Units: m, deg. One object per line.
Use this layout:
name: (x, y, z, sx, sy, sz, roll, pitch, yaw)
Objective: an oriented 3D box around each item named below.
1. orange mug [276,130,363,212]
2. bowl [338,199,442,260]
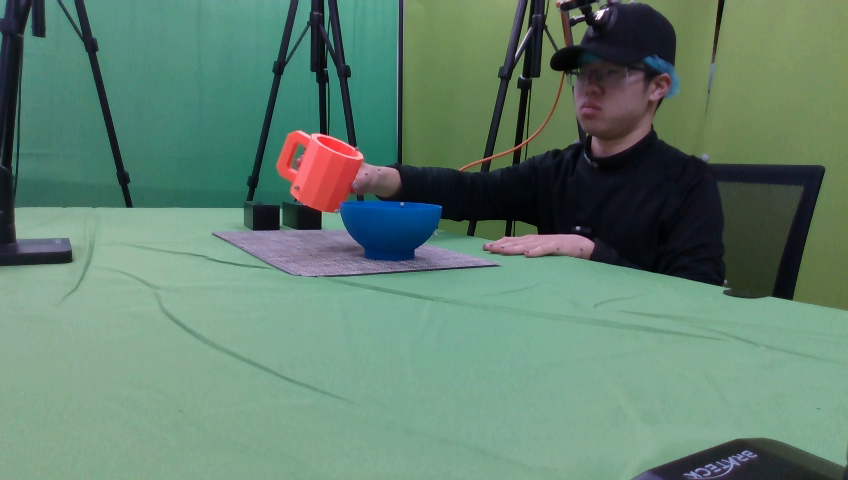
orange mug: (-0.168, -0.115, 0.946, 0.126, 0.100, 0.083, 33, 20, 6)
bowl: (-0.050, -0.015, 0.878, 0.151, 0.077, 0.151, 2, 8, 0)
